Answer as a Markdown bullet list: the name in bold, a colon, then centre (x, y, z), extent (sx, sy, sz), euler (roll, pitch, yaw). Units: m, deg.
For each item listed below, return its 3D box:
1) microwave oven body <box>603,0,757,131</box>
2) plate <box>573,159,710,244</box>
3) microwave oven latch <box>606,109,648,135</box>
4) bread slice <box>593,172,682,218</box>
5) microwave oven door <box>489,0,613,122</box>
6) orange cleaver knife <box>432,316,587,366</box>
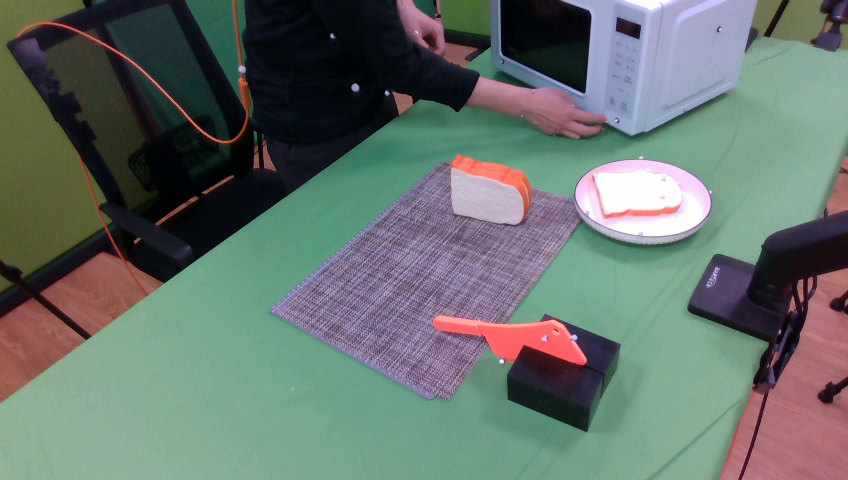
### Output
- **microwave oven body**: centre (0.397, -0.448, 1.248), extent (0.327, 0.261, 0.437), euler (-27, 44, -21)
- **plate**: centre (0.347, -0.059, 0.979), extent (0.207, 0.039, 0.206), euler (-4, 41, 4)
- **microwave oven latch**: centre (0.380, -0.225, 1.139), extent (0.030, 0.029, 0.078), euler (-25, 43, -18)
- **bread slice**: centre (0.352, -0.076, 0.995), extent (0.134, 0.018, 0.106), euler (-4, 44, 1)
- **microwave oven door**: centre (0.250, -0.412, 1.219), extent (0.039, 0.245, 0.352), euler (-27, 44, -21)
- **orange cleaver knife**: centre (0.101, 0.127, 0.761), extent (0.210, 0.077, 0.012), euler (-1, 34, 40)
